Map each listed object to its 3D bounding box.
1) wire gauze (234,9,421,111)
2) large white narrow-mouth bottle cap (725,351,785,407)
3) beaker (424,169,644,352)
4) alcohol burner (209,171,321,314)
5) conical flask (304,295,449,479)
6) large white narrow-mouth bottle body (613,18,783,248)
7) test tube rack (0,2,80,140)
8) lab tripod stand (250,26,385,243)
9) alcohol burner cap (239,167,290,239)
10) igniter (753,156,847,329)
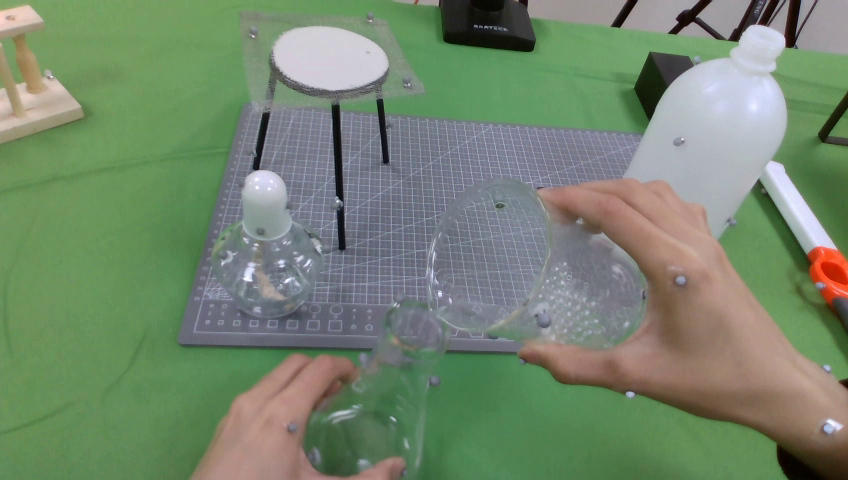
[{"bbox_3d":[-0.075,-0.140,0.454,0.122,0.011,0.123,-7,51,-17],"label":"wire gauze"},{"bbox_3d":[0.249,0.105,0.457,0.038,0.024,0.037,5,46,-5],"label":"large white narrow-mouth bottle cap"},{"bbox_3d":[0.059,0.019,0.313,0.101,0.084,0.073,20,34,-41],"label":"beaker"},{"bbox_3d":[-0.111,-0.003,0.424,0.078,0.120,0.077,7,45,-6],"label":"alcohol burner"},{"bbox_3d":[-0.022,0.086,0.349,0.075,0.122,0.074,15,37,-11],"label":"conical flask"},{"bbox_3d":[0.238,-0.090,0.514,0.102,0.196,0.101,5,46,-4],"label":"large white narrow-mouth bottle body"},{"bbox_3d":[-0.431,-0.115,0.495,0.242,0.086,0.066,-31,59,-33],"label":"test tube rack"},{"bbox_3d":[-0.080,-0.093,0.501,0.149,0.132,0.147,6,47,-7],"label":"lab tripod stand"},{"bbox_3d":[-0.106,-0.026,0.397,0.034,0.048,0.033,5,52,-5],"label":"alcohol burner cap"},{"bbox_3d":[0.368,0.015,0.559,0.057,0.025,0.273,11,45,-14],"label":"igniter"}]
